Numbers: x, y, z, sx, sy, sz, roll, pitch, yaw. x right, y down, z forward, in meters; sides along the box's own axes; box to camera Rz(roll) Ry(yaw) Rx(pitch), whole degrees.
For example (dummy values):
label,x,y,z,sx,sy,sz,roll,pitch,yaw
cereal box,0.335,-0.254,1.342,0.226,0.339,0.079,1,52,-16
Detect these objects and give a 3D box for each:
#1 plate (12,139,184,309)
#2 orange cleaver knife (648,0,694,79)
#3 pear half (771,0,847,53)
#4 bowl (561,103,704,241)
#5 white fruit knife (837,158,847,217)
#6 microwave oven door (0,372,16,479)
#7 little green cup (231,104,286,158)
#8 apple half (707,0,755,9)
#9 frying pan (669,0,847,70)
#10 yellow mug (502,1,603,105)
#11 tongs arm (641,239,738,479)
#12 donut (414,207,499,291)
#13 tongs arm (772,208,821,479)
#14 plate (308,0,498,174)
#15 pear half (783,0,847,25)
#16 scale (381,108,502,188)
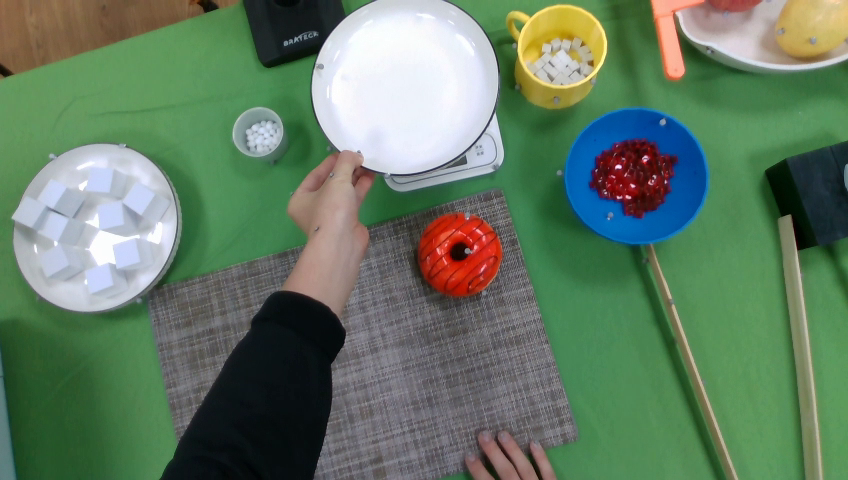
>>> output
label,x,y,z,sx,sy,sz,roll,pitch,yaw
plate,-0.391,-0.019,0.738,0.207,0.039,0.207,-1,82,4
orange cleaver knife,0.272,-0.285,0.676,0.077,0.012,0.210,-12,82,5
pear half,0.433,-0.245,0.670,0.076,0.110,0.056,20,84,10
bowl,0.225,-0.069,0.682,0.151,0.077,0.151,0,83,4
white fruit knife,0.475,0.011,0.654,0.016,0.027,0.208,-18,96,2
microwave oven door,-0.486,0.312,0.579,0.039,0.244,0.354,-14,81,2
little green cup,-0.199,-0.130,0.739,0.061,0.039,0.061,-1,82,6
apple half,0.356,-0.299,0.701,0.081,0.075,0.053,25,88,4
frying pan,0.470,-0.258,0.677,0.307,0.103,0.485,-43,74,-1
yellow mug,0.142,-0.228,0.715,0.130,0.064,0.100,41,88,9
tongs arm,0.323,0.172,0.666,0.051,0.026,0.383,-16,83,-3
donut,0.037,0.010,0.698,0.099,0.048,0.099,-1,84,6
tongs arm,0.408,0.156,0.667,0.028,0.028,0.386,-1,83,-5
plate,-0.022,-0.171,0.669,0.209,0.038,0.208,-1,80,5
pear half,0.449,-0.275,0.683,0.070,0.088,0.031,15,83,12
scale,0.004,-0.173,0.735,0.148,0.031,0.200,-12,82,3
